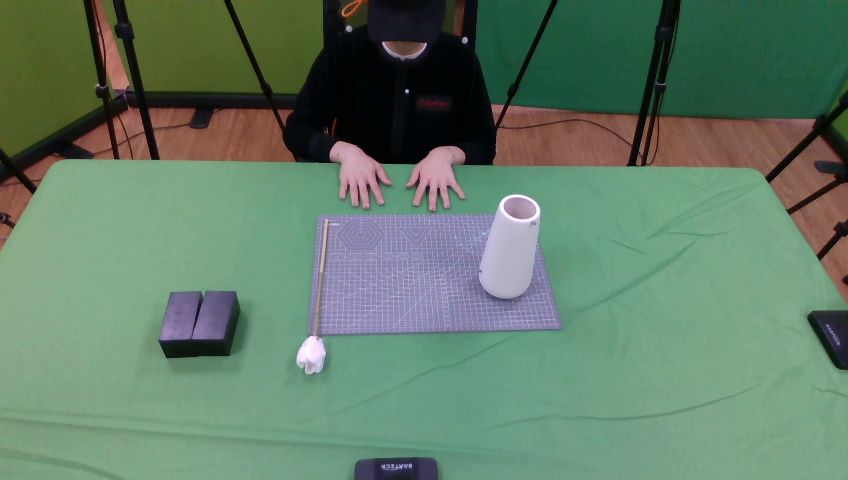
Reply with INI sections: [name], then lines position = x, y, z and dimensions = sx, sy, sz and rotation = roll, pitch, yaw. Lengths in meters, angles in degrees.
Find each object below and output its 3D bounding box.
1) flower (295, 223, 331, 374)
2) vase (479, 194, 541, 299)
[flower]
position = -0.190, 0.087, 1.104
dimensions = 0.044, 0.038, 0.359
rotation = 28, 35, -23
[vase]
position = 0.152, 0.015, 1.066
dimensions = 0.098, 0.201, 0.097
rotation = 1, 47, -1
